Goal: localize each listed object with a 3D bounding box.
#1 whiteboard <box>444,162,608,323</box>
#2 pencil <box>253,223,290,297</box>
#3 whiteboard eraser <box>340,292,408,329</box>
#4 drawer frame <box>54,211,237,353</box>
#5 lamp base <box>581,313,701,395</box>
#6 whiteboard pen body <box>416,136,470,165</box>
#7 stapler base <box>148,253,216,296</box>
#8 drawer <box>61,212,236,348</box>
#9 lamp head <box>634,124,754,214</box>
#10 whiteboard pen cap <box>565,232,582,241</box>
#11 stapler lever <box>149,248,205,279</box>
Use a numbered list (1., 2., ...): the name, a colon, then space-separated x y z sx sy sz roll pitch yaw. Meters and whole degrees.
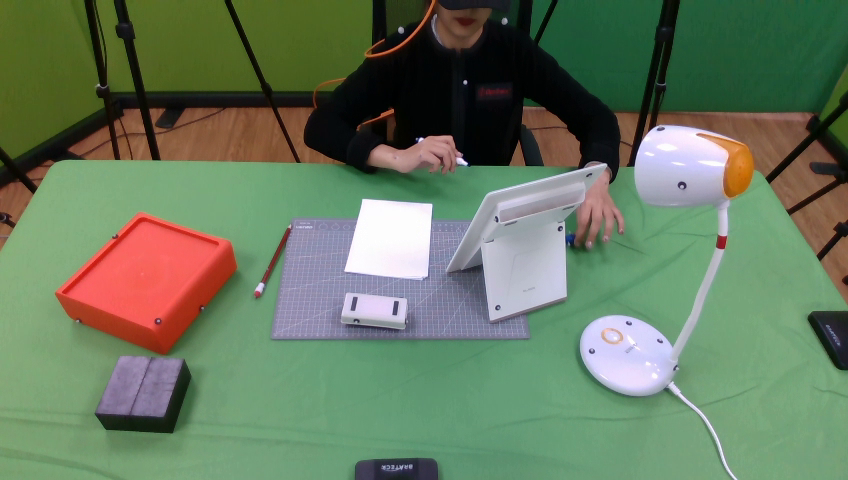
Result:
1. whiteboard: 0.186 0.026 1.028 0.217 0.306 0.143 -14 68 -18
2. pencil: -0.286 0.033 1.150 0.012 0.012 0.193 9 46 4
3. whiteboard eraser: -0.087 0.125 1.052 0.113 0.042 0.055 5 45 1
4. drawer frame: -0.473 0.067 1.055 0.201 0.083 0.212 17 48 11
5. lamp base: 0.361 0.144 0.973 0.178 0.181 0.160 34 53 23
6. whiteboard pen body: 0.041 -0.191 1.301 0.140 0.017 0.017 30 51 24
7. stapler base: -0.443 0.059 1.109 0.130 0.024 0.041 24 51 11
8. drawer: -0.473 0.064 1.060 0.194 0.073 0.211 18 48 11
9. lamp head: 0.351 -0.089 0.775 0.112 0.113 0.122 -30 30 -28
10. whiteboard pen cap: 0.299 -0.007 1.216 0.033 0.018 0.018 0 46 -5
11. stapler lever: -0.443 0.037 1.084 0.118 0.040 0.027 19 50 17
